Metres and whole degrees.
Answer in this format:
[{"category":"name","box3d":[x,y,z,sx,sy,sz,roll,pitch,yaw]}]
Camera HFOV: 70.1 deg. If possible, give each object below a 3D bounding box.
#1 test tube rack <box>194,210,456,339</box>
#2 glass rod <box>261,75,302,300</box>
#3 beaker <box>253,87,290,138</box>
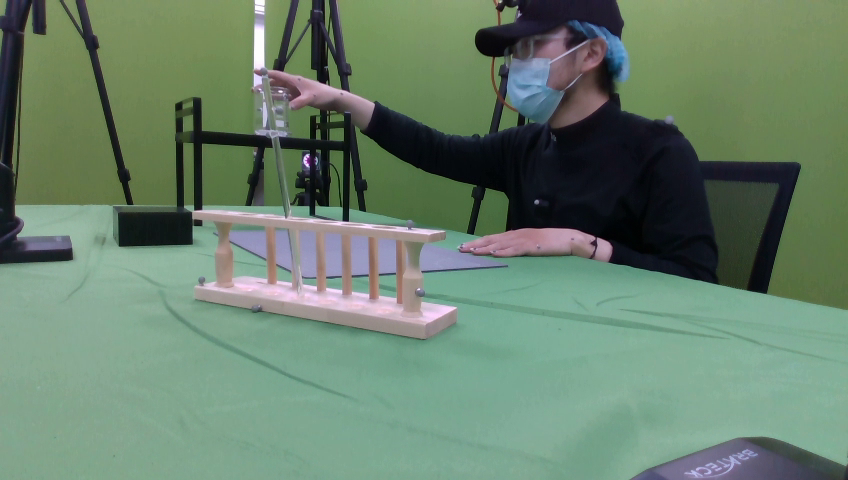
[{"category":"test tube rack","box3d":[-0.093,0.023,0.546,0.241,0.085,0.067,6,8,25]},{"category":"glass rod","box3d":[-0.124,-0.043,0.531,0.008,0.199,0.008,-7,8,1]},{"category":"beaker","box3d":[-0.319,-0.265,1.259,0.073,0.100,0.084,7,9,33]}]
